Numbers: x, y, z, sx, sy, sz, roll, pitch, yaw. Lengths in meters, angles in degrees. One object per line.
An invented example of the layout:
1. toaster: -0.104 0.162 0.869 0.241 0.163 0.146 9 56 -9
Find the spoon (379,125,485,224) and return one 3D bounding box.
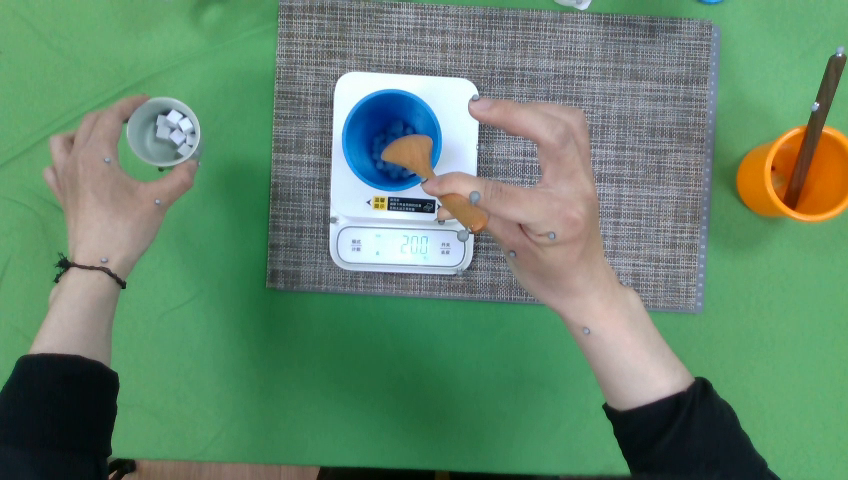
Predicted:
1. spoon: 0.005 -0.047 0.393 0.041 0.191 0.022 -22 120 -7

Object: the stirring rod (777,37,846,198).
1. stirring rod: 0.359 -0.106 0.566 0.014 0.005 0.178 -11 135 2

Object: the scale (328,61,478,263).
1. scale: -0.022 -0.078 0.615 0.149 0.031 0.201 2 93 0

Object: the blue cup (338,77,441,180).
1. blue cup: -0.028 -0.095 0.549 0.092 0.100 0.092 0 94 0

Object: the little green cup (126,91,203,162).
1. little green cup: -0.230 -0.100 0.546 0.062 0.038 0.061 1 87 -9
